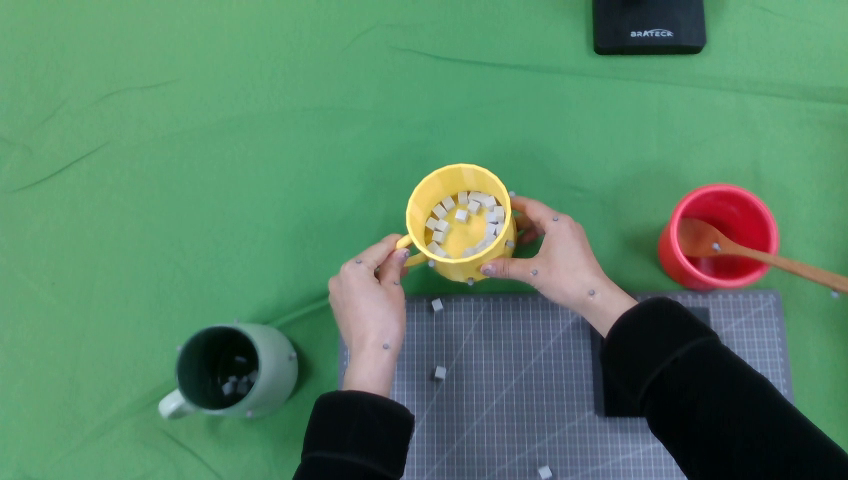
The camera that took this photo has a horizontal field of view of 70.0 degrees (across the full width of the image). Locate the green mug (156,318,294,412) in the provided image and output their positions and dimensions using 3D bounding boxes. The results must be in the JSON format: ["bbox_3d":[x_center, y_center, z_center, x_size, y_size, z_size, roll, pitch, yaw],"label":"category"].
[{"bbox_3d":[-0.196,0.128,0.585,0.125,0.105,0.092,-32,78,-3],"label":"green mug"}]

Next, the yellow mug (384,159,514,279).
[{"bbox_3d":[0.021,-0.012,0.586,0.131,0.064,0.099,-28,67,3],"label":"yellow mug"}]

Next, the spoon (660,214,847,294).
[{"bbox_3d":[0.303,0.015,0.554,0.041,0.022,0.192,-55,36,-5],"label":"spoon"}]
